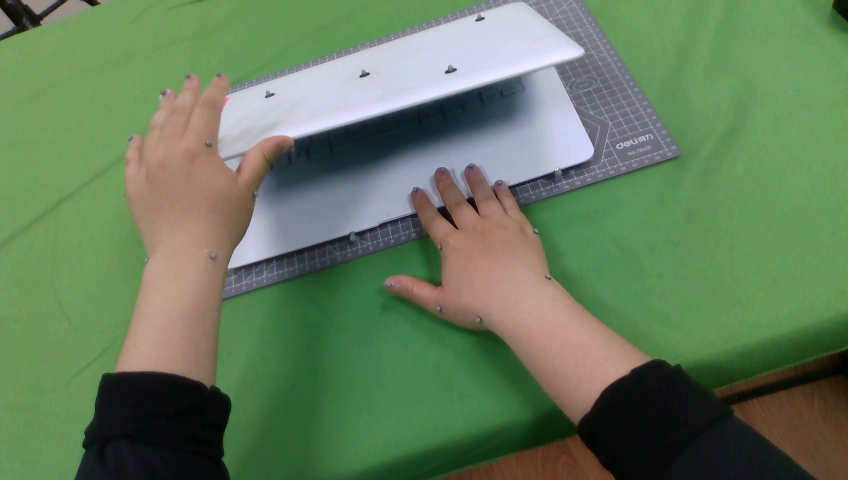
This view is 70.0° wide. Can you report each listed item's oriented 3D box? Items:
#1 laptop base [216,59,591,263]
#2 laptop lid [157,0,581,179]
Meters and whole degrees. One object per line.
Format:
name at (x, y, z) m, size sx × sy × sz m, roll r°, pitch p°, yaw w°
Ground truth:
laptop base at (-0.041, -0.117, 0.606) m, size 0.354 × 0.023 × 0.233 m, roll -17°, pitch 58°, yaw 4°
laptop lid at (-0.057, -0.156, 0.564) m, size 0.356 × 0.013 × 0.239 m, roll -16°, pitch 31°, yaw 5°
